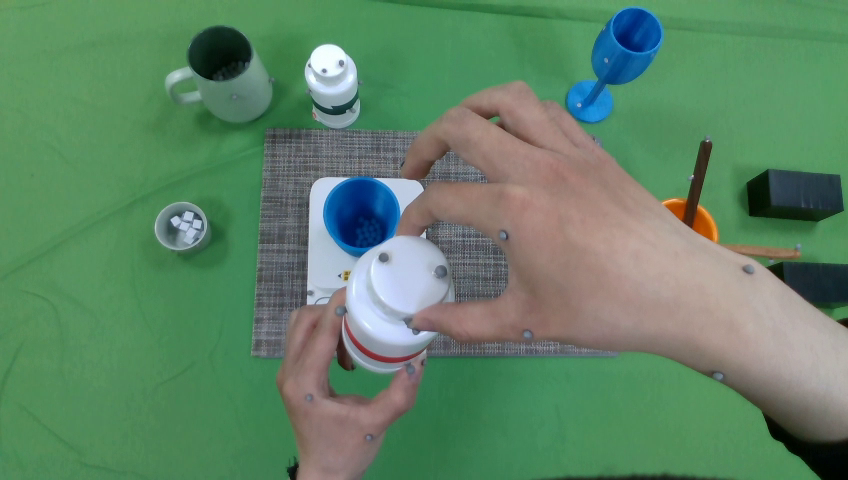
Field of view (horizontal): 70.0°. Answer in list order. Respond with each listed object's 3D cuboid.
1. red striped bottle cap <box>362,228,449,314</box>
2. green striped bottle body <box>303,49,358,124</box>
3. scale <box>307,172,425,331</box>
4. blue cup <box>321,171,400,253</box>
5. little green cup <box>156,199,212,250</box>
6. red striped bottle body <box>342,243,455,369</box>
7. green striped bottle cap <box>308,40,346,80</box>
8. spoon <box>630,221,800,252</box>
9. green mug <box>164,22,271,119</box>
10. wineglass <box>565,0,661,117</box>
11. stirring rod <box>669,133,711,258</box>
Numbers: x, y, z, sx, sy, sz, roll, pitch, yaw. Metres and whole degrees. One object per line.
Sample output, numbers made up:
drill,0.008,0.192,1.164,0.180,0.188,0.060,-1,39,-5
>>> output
red striped bottle cap,-0.009,0.016,0.318,0.045,0.018,0.044,3,76,-13
green striped bottle body,-0.117,-0.200,0.767,0.063,0.119,0.063,1,76,-3
scale,-0.072,0.012,0.761,0.149,0.031,0.200,-1,77,-4
blue cup,-0.073,-0.024,0.703,0.093,0.100,0.092,1,78,-6
little green cup,-0.295,-0.017,0.752,0.061,0.039,0.061,1,76,-5
red striped bottle body,-0.018,0.039,0.374,0.063,0.120,0.062,3,68,-8
green striped bottle cap,-0.115,-0.214,0.717,0.044,0.020,0.044,1,75,-4
spoon,0.346,0.001,0.737,0.022,0.192,0.041,21,80,-43
green mug,-0.263,-0.207,0.767,0.125,0.105,0.092,-22,79,-8
wineglass,0.234,-0.224,0.770,0.074,0.173,0.073,1,76,-3
stirring rod,0.326,-0.050,0.748,0.014,0.177,0.006,5,35,11
